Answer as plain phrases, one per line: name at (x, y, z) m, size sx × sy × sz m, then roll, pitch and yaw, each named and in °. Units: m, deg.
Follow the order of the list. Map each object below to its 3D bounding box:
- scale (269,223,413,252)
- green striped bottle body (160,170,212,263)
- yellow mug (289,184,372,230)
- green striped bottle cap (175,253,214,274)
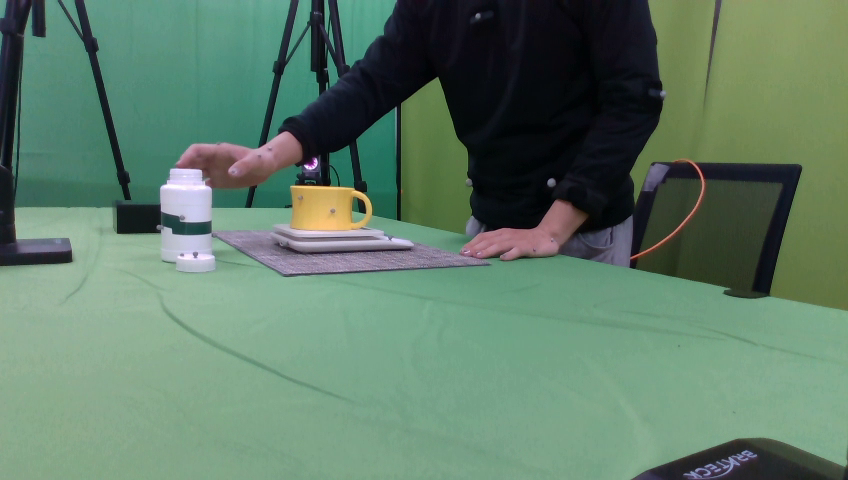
scale at (-0.132, -0.007, 0.965) m, size 0.202 × 0.031 × 0.148 m, roll -1°, pitch 8°, yaw -31°
green striped bottle body at (-0.313, -0.033, 0.797) m, size 0.063 × 0.119 × 0.063 m, roll 2°, pitch 8°, yaw 0°
yellow mug at (-0.145, -0.052, 0.943) m, size 0.131 × 0.064 × 0.100 m, roll 4°, pitch 7°, yaw 9°
green striped bottle cap at (-0.280, 0.029, 0.740) m, size 0.044 × 0.020 × 0.044 m, roll 6°, pitch 4°, yaw 0°
